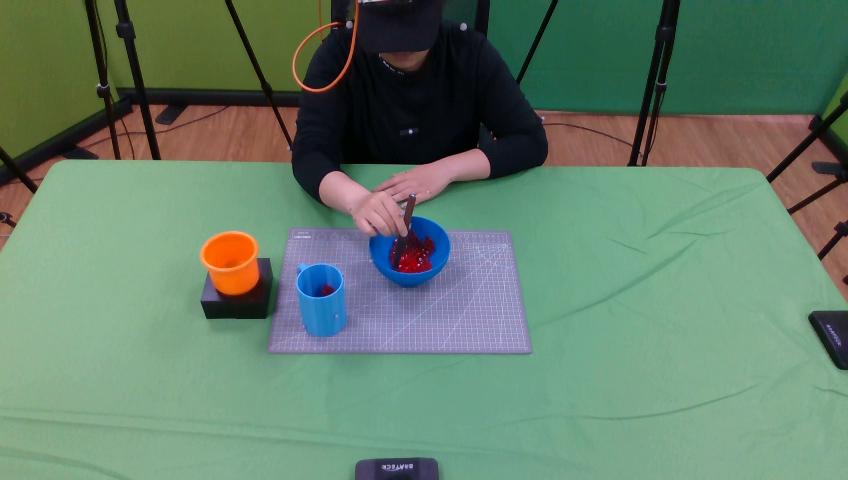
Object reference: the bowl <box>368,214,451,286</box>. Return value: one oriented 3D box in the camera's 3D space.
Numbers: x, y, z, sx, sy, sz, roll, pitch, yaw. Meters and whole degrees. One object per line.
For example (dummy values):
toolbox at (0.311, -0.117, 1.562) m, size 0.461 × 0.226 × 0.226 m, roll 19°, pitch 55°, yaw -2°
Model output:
bowl at (-0.028, 0.031, 1.122) m, size 0.151 × 0.077 × 0.150 m, roll 2°, pitch 46°, yaw -2°

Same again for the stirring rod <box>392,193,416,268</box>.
stirring rod at (-0.036, -0.014, 1.060) m, size 0.014 × 0.177 × 0.006 m, roll 32°, pitch 45°, yaw 16°

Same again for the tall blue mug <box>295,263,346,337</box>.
tall blue mug at (-0.187, 0.096, 1.027) m, size 0.107 × 0.108 × 0.077 m, roll 21°, pitch 49°, yaw 16°
